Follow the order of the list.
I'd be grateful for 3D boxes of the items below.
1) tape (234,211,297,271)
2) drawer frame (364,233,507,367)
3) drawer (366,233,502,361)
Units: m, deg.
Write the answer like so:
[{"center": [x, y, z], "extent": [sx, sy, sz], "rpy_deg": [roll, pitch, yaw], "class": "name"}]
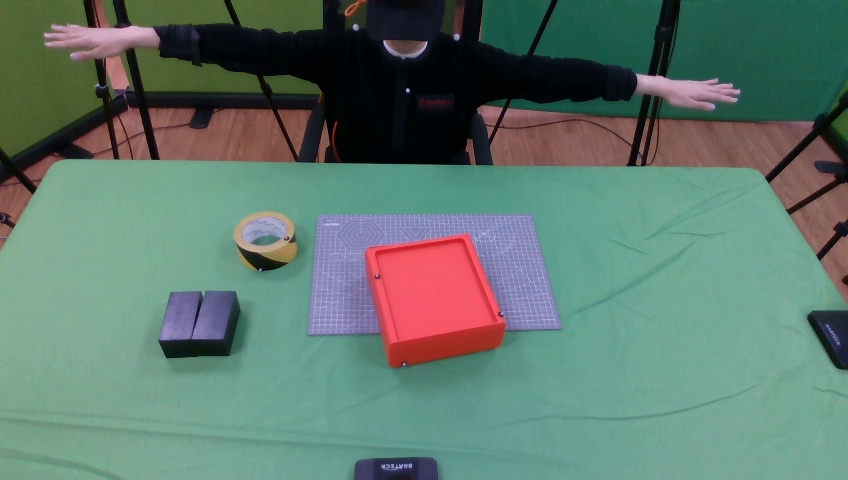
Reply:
[{"center": [-0.301, 0.002, 1.154], "extent": [0.117, 0.053, 0.116], "rpy_deg": [2, 46, -1], "class": "tape"}, {"center": [0.013, 0.098, 1.058], "extent": [0.202, 0.083, 0.212], "rpy_deg": [-9, 48, -12], "class": "drawer frame"}, {"center": [0.012, 0.095, 1.063], "extent": [0.195, 0.073, 0.210], "rpy_deg": [-8, 48, -12], "class": "drawer"}]
